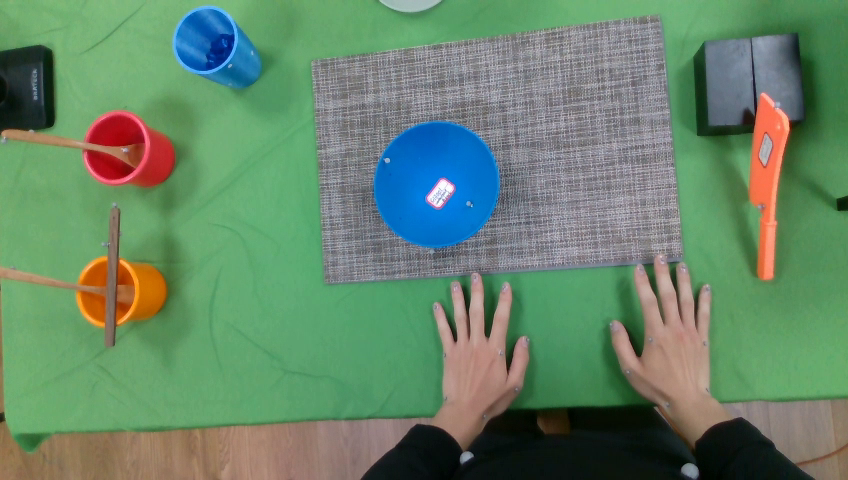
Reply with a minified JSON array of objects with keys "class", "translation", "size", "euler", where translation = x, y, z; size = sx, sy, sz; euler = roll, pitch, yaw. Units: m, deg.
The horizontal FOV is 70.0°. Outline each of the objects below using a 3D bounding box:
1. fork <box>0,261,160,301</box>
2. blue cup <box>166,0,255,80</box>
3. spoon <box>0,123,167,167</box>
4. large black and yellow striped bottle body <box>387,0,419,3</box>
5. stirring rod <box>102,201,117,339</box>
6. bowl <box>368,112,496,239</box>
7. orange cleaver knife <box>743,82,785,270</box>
[{"class":"fork","translation":[-0.448,0.050,0.774],"size":[0.209,0.018,0.028],"euler":[16,100,-34]},{"class":"blue cup","translation":[-0.266,-0.250,0.782],"size":[0.092,0.100,0.092],"euler":[0,89,7]},{"class":"spoon","translation":[-0.438,-0.129,0.784],"size":[0.195,0.021,0.041],"euler":[8,86,-34]},{"class":"large black and yellow striped bottle body","translation":[-0.037,-0.378,0.710],"size":[0.130,0.184,0.130],"euler":[0,87,9]},{"class":"stirring rod","translation":[-0.397,0.037,0.765],"size":[0.014,0.006,0.176],"euler":[0,88,6]},{"class":"bowl","translation":[0.014,-0.073,0.740],"size":[0.151,0.077,0.151],"euler":[0,87,9]},{"class":"orange cleaver knife","translation":[0.378,-0.069,0.684],"size":[0.012,0.076,0.213],"euler":[-8,116,5]}]
